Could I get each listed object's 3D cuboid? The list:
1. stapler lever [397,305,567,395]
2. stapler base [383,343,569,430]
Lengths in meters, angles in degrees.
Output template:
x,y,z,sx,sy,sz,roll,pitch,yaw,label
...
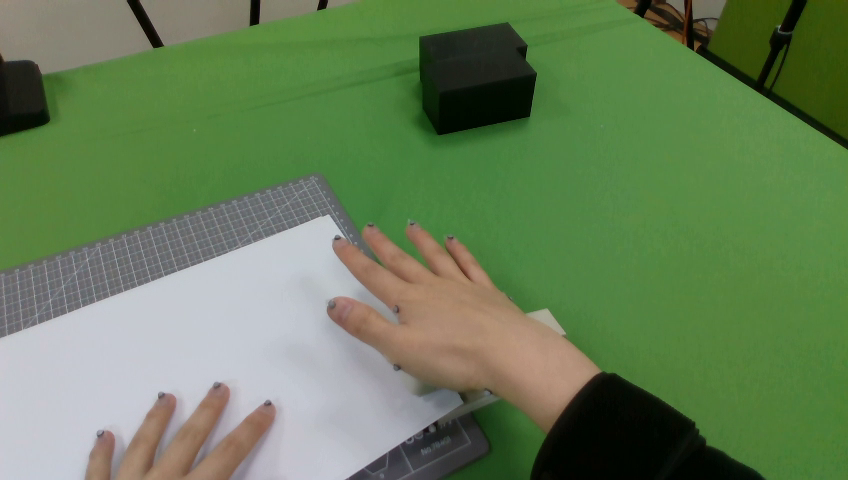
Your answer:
x,y,z,sx,sy,sz,roll,pitch,yaw,label
0.039,0.066,0.387,0.118,0.040,0.026,-18,52,-20,stapler lever
0.037,0.083,0.404,0.131,0.024,0.041,-17,52,-21,stapler base
